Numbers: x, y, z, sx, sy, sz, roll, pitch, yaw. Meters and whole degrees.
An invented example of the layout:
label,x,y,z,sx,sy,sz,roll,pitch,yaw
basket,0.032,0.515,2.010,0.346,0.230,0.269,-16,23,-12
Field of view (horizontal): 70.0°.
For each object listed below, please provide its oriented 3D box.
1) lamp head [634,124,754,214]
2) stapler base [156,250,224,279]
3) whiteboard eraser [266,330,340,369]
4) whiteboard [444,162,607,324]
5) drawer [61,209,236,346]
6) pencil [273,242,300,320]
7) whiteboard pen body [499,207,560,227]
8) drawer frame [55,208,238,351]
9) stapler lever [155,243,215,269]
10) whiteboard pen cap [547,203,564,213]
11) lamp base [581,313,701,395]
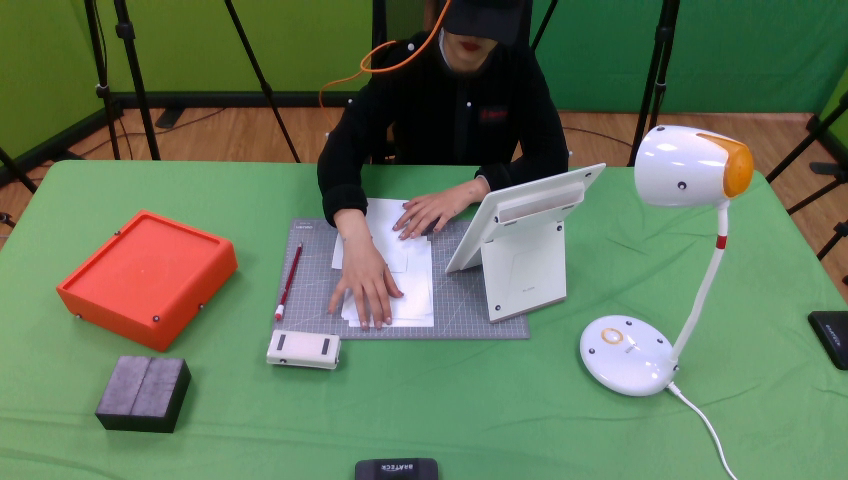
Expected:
label,x,y,z,sx,sy,sz,roll,pitch,yaw
lamp head,0.351,-0.089,0.776,0.112,0.113,0.122,-30,30,-28
stapler base,-0.431,0.040,1.110,0.130,0.024,0.041,11,38,17
whiteboard eraser,-0.198,0.181,0.994,0.113,0.042,0.055,5,45,1
whiteboard,0.186,0.025,1.029,0.217,0.306,0.143,-15,68,-18
drawer,-0.474,0.061,1.062,0.194,0.073,0.211,19,48,13
pencil,-0.249,0.071,1.115,0.012,0.012,0.193,5,43,1
whiteboard pen body,0.222,-0.051,1.260,0.141,0.017,0.017,-15,49,-16
drawer frame,-0.474,0.062,1.059,0.201,0.083,0.213,18,48,12
stapler lever,-0.433,0.023,1.097,0.118,0.040,0.026,14,39,14
whiteboard pen cap,0.277,-0.066,1.275,0.033,0.018,0.018,-18,50,-15
lamp base,0.361,0.144,0.973,0.178,0.181,0.160,34,53,23
